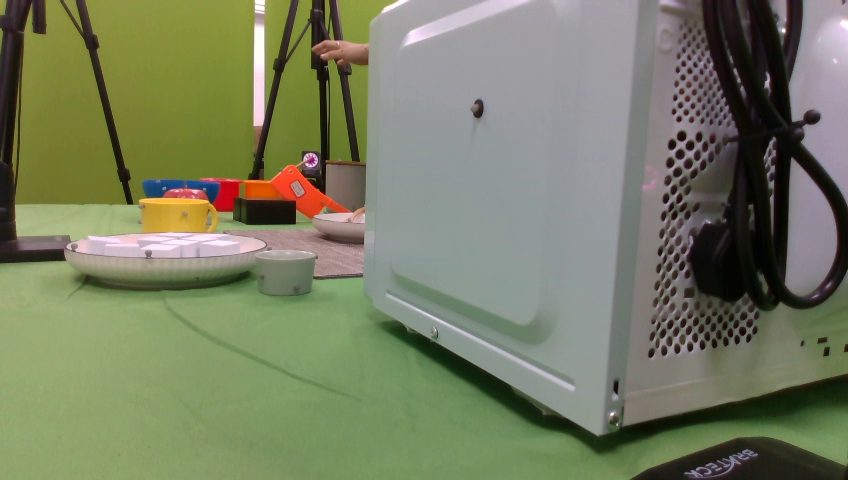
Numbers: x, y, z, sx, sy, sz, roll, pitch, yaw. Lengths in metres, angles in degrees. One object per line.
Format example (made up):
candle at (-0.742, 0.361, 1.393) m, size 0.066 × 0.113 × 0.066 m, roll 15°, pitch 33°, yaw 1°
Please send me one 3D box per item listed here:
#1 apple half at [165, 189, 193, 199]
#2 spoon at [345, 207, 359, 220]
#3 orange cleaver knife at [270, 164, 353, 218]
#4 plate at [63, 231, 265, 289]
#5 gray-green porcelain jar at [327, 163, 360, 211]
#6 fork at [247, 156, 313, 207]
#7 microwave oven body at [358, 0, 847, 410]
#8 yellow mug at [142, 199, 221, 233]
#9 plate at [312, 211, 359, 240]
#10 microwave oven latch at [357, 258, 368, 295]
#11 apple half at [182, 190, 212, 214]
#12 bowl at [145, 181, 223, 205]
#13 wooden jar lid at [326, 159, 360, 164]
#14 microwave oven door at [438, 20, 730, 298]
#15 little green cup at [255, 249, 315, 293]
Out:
apple half at (-0.440, -0.055, 1.097) m, size 0.053 × 0.074 × 0.081 m, roll 0°, pitch 10°, yaw 12°
spoon at (-0.126, -0.047, 1.117) m, size 0.041 × 0.021 × 0.194 m, roll -2°, pitch 18°, yaw 14°
orange cleaver knife at (-0.239, -0.088, 1.329) m, size 0.212 × 0.077 × 0.012 m, roll 36°, pitch -8°, yaw -33°
plate at (-0.288, 0.021, 0.687) m, size 0.208 × 0.039 × 0.207 m, roll 2°, pitch 8°, yaw 0°
gray-green porcelain jar at (-0.187, -0.125, 1.490) m, size 0.106 × 0.126 × 0.106 m, roll 2°, pitch 8°, yaw 0°
fork at (-0.361, -0.147, 1.523) m, size 0.207 × 0.018 × 0.028 m, roll -43°, pitch 13°, yaw -6°
microwave oven body at (0.210, -0.051, 0.471) m, size 0.444 × 0.260 × 0.324 m, roll -1°, pitch 7°, yaw -28°
yellow mug at (-0.372, -0.030, 0.948) m, size 0.099 × 0.064 × 0.131 m, roll 6°, pitch 7°, yaw 30°
plate at (-0.091, -0.026, 1.063) m, size 0.209 × 0.038 × 0.209 m, roll 2°, pitch 7°, yaw 0°
microwave oven latch at (-0.019, 0.031, 0.530) m, size 0.079 × 0.029 × 0.030 m, roll -1°, pitch 7°, yaw -27°
apple half at (-0.402, -0.054, 1.090) m, size 0.033 × 0.081 × 0.081 m, roll 1°, pitch 7°, yaw 12°
bowl at (-0.499, -0.081, 1.261) m, size 0.151 × 0.077 × 0.151 m, roll 2°, pitch 8°, yaw 0°
wooden jar lid at (-0.185, -0.187, 1.481) m, size 0.108 × 0.020 × 0.108 m, roll 4°, pitch 6°, yaw 0°
microwave oven door at (0.181, -0.076, 0.618) m, size 0.358 × 0.243 × 0.039 m, roll -2°, pitch 8°, yaw -28°
little green cup at (-0.144, 0.031, 0.627) m, size 0.061 × 0.038 × 0.061 m, roll 2°, pitch 6°, yaw 0°
